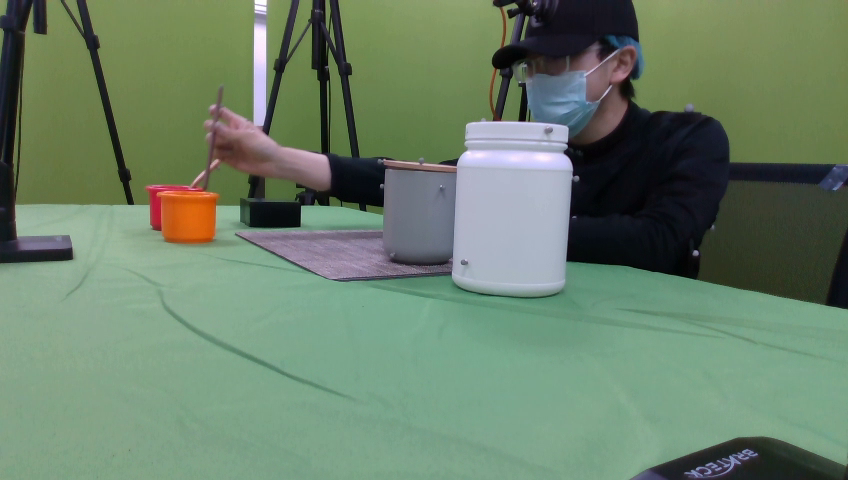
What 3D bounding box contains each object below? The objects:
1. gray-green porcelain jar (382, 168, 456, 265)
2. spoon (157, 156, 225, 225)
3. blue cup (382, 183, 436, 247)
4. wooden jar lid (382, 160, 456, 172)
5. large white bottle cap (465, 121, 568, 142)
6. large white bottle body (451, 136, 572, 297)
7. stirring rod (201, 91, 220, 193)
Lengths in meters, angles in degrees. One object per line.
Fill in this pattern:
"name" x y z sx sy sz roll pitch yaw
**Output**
"gray-green porcelain jar" -0.005 -0.034 0.834 0.106 0.126 0.106 3 7 0
"spoon" -0.425 -0.094 1.117 0.041 0.022 0.194 3 51 30
"blue cup" -0.024 -0.042 0.981 0.093 0.100 0.092 1 6 0
"wooden jar lid" -0.003 -0.096 0.826 0.108 0.020 0.108 4 10 0
"large white bottle cap" 0.103 -0.120 0.677 0.115 0.018 0.115 2 7 0
"large white bottle body" 0.099 -0.037 0.688 0.131 0.184 0.130 2 7 0
"stirring rod" -0.344 -0.160 0.975 0.006 0.176 0.014 5 -15 -7
